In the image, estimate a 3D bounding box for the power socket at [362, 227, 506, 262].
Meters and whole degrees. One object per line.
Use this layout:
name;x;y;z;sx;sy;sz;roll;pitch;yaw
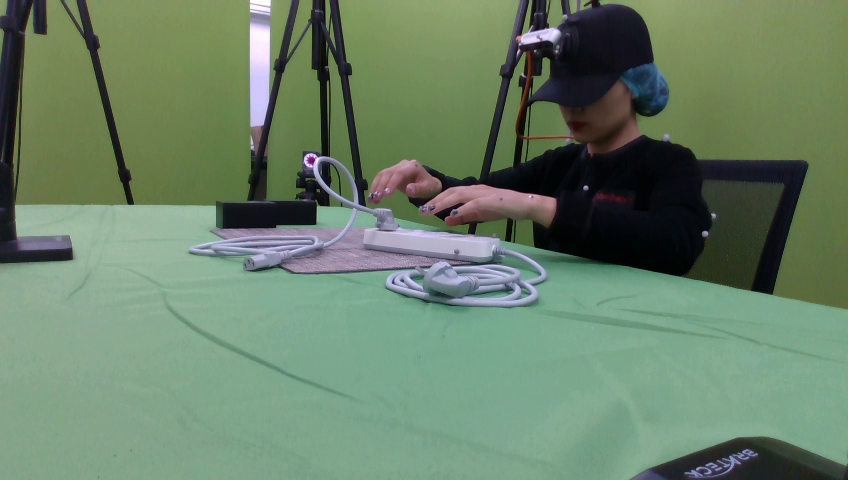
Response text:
power socket;0.009;0.004;0.910;0.226;0.032;0.072;7;9;28

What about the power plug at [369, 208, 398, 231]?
power plug;-0.069;-0.022;0.915;0.035;0.052;0.073;9;10;39
